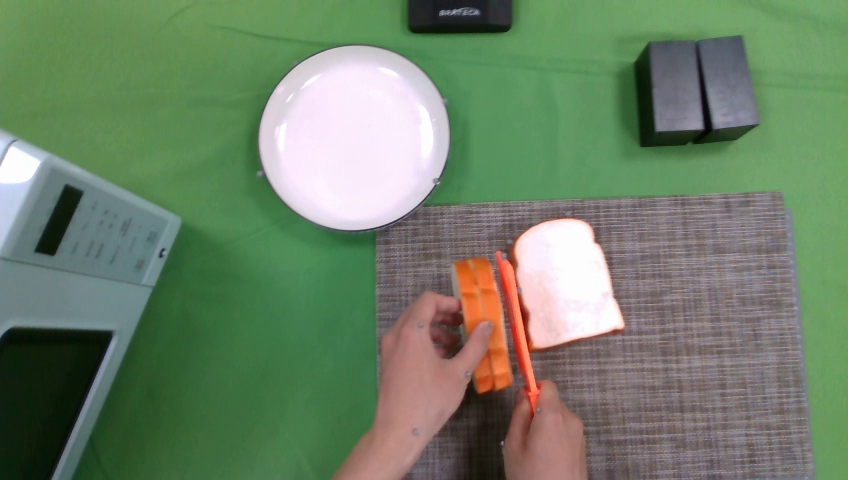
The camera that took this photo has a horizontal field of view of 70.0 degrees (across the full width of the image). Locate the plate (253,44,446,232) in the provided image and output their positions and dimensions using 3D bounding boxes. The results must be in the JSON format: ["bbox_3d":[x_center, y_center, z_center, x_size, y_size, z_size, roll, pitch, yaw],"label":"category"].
[{"bbox_3d":[-0.079,-0.109,0.664,0.208,0.039,0.207,0,82,0],"label":"plate"}]

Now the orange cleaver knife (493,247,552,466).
[{"bbox_3d":[0.094,0.110,0.593,0.012,0.077,0.211,-12,90,0],"label":"orange cleaver knife"}]

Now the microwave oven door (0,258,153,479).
[{"bbox_3d":[-0.364,0.185,0.503,0.039,0.244,0.355,20,82,4],"label":"microwave oven door"}]

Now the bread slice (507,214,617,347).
[{"bbox_3d":[0.146,0.040,0.650,0.107,0.018,0.134,-10,91,-6],"label":"bread slice"}]

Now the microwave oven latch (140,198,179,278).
[{"bbox_3d":[-0.285,-0.002,0.631,0.030,0.029,0.079,22,83,3],"label":"microwave oven latch"}]

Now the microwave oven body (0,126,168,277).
[{"bbox_3d":[-0.487,0.097,0.520,0.326,0.261,0.440,20,83,3],"label":"microwave oven body"}]
